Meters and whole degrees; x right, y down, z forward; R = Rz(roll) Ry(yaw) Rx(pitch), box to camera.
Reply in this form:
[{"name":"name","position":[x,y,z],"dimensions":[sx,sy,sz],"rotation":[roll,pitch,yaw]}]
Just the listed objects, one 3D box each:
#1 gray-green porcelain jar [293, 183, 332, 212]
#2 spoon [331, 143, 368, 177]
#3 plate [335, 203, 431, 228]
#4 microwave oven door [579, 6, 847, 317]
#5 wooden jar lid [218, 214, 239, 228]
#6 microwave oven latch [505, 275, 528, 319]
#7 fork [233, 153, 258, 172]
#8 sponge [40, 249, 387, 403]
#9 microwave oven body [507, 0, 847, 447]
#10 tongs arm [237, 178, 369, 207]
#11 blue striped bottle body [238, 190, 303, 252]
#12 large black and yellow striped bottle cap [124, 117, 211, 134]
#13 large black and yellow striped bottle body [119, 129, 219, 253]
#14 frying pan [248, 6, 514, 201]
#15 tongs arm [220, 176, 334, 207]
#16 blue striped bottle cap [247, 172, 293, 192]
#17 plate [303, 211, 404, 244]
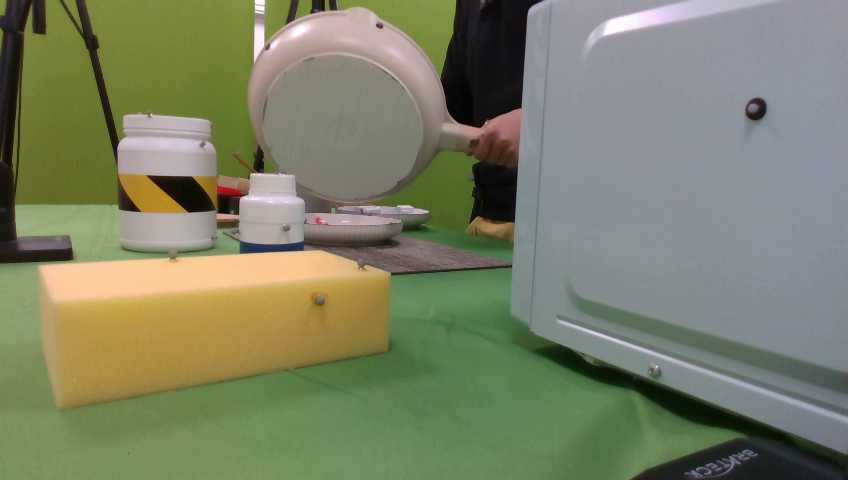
[{"name":"gray-green porcelain jar","position":[-0.238,-0.092,1.221],"dimensions":[0.106,0.126,0.106],"rotation":[2,7,0]},{"name":"spoon","position":[-0.123,-0.141,1.050],"dimensions":[0.041,0.021,0.193],"rotation":[11,20,1]},{"name":"plate","position":[-0.089,-0.053,1.309],"dimensions":[0.208,0.039,0.207],"rotation":[2,8,0]},{"name":"microwave oven door","position":[0.294,-0.067,0.570],"dimensions":[0.358,0.243,0.039],"rotation":[-3,9,-31]},{"name":"wooden jar lid","position":[-0.404,-0.037,1.169],"dimensions":[0.108,0.020,0.108],"rotation":[3,7,0]},{"name":"microwave oven latch","position":[0.100,0.041,0.471],"dimensions":[0.079,0.029,0.030],"rotation":[-1,7,-28]},{"name":"fork","position":[-0.396,-0.143,1.486],"dimensions":[0.028,0.018,0.208],"rotation":[21,-25,45]},{"name":"sponge","position":[-0.142,0.047,0.420],"dimensions":[0.208,0.061,0.117],"rotation":[-3,8,-36]},{"name":"microwave oven body","position":[0.331,-0.042,0.425],"dimensions":[0.444,0.260,0.324],"rotation":[-2,8,-31]},{"name":"tongs arm","position":[-0.242,-0.095,1.374],"dimensions":[0.387,0.026,0.050],"rotation":[9,0,-37]},{"name":"blue striped bottle body","position":[-0.153,-0.007,0.605],"dimensions":[0.063,0.120,0.063],"rotation":[2,7,0]},{"name":"large black and yellow striped bottle cap","position":[-0.366,-0.163,0.866],"dimensions":[0.115,0.019,0.115],"rotation":[3,7,0]},{"name":"large black and yellow striped bottle body","position":[-0.368,-0.080,0.876],"dimensions":[0.131,0.184,0.130],"rotation":[2,7,0]},{"name":"frying pan","position":[-0.012,-0.167,0.896],"dimensions":[0.489,0.306,0.102],"rotation":[3,39,-12]},{"name":"tongs arm","position":[-0.286,-0.104,1.445],"dimensions":[0.389,0.027,0.028],"rotation":[10,-4,-23]},{"name":"blue striped bottle cap","position":[-0.152,-0.057,0.598],"dimensions":[0.044,0.020,0.044],"rotation":[3,6,0]},{"name":"plate","position":[-0.139,-0.022,1.021],"dimensions":[0.209,0.038,0.209],"rotation":[2,8,0]}]
